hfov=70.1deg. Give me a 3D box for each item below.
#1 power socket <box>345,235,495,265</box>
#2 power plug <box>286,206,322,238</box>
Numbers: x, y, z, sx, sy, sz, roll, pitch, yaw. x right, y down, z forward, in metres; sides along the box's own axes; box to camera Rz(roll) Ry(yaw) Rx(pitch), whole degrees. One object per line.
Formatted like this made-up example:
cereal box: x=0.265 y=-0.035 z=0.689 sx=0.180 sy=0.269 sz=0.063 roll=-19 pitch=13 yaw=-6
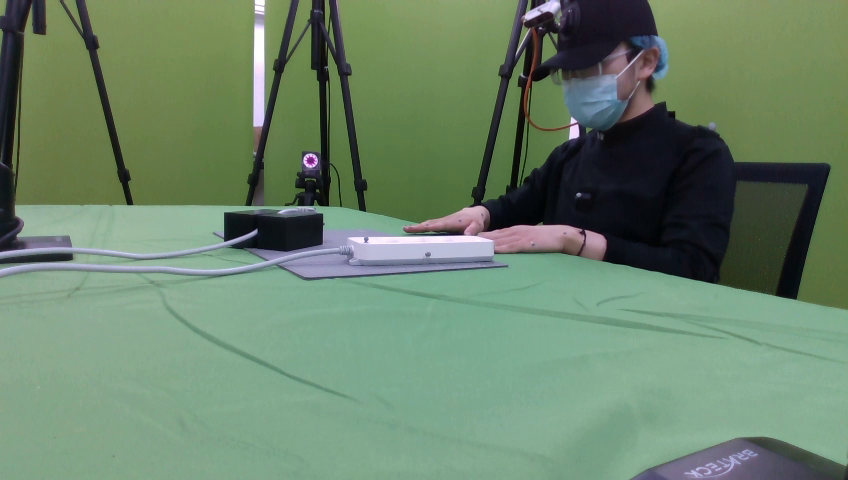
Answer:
power socket: x=-0.003 y=0.012 z=0.852 sx=0.228 sy=0.032 sz=0.072 roll=-2 pitch=7 yaw=-25
power plug: x=-0.203 y=-0.029 z=1.001 sx=0.073 sy=0.052 sz=0.035 roll=0 pitch=3 yaw=-41
